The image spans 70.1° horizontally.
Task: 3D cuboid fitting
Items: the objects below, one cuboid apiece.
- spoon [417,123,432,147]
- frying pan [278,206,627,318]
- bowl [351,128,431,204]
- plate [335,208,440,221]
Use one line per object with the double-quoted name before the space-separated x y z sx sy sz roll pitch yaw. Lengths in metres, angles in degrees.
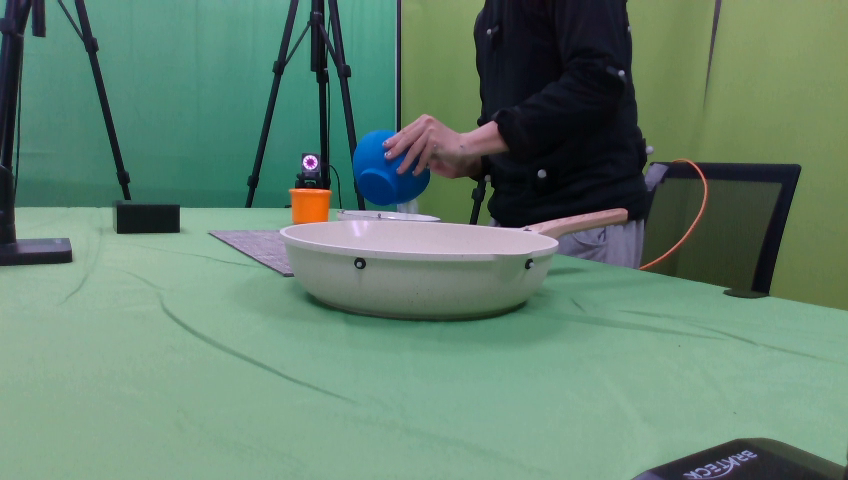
"spoon" -0.020 -0.167 1.183 0.041 0.021 0.194 13 49 12
"frying pan" 0.079 0.002 0.705 0.490 0.102 0.305 -12 15 -33
"bowl" -0.071 -0.118 1.091 0.151 0.151 0.077 5 44 20
"plate" -0.073 -0.035 1.196 0.208 0.039 0.207 4 6 0
